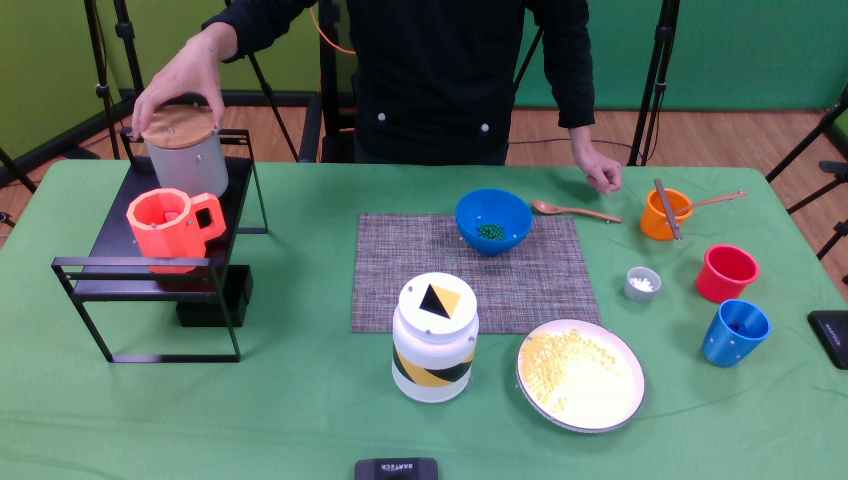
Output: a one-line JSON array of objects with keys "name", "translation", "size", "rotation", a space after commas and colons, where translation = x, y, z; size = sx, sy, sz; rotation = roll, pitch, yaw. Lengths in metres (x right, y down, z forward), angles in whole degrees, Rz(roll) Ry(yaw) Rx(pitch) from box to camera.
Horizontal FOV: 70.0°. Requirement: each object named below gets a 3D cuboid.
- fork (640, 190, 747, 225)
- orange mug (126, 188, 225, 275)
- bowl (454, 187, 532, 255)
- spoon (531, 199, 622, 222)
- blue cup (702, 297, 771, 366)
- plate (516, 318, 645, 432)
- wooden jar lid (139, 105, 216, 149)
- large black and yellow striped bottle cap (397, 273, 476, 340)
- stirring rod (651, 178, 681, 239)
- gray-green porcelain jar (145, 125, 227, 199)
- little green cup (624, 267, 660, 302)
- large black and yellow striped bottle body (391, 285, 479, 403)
[{"name": "fork", "translation": [0.533, -0.065, 1.211], "size": [0.207, 0.019, 0.028], "rotation": [-22, 28, 39]}, {"name": "orange mug", "translation": [-0.357, -0.020, 0.885], "size": [0.126, 0.101, 0.083], "rotation": [-29, 54, -23]}, {"name": "bowl", "translation": [0.131, -0.025, 1.187], "size": [0.151, 0.077, 0.150], "rotation": [2, 46, -2]}, {"name": "spoon", "translation": [0.321, -0.060, 1.279], "size": [0.194, 0.022, 0.041], "rotation": [8, 33, 4]}, {"name": "blue cup", "translation": [0.519, 0.162, 1.025], "size": [0.093, 0.101, 0.092], "rotation": [3, 45, -3]}, {"name": "plate", "translation": [0.253, 0.221, 0.992], "size": [0.209, 0.038, 0.208], "rotation": [2, 46, -2]}, {"name": "wooden jar lid", "translation": [-0.372, -0.169, 0.920], "size": [0.108, 0.021, 0.107], "rotation": [4, 44, -4]}, {"name": "large black and yellow striped bottle cap", "translation": [0.018, 0.094, 0.878], "size": [0.115, 0.019, 0.114], "rotation": [3, 46, -3]}, {"name": "stirring rod", "translation": [0.479, -0.065, 1.204], "size": [0.014, 0.006, 0.175], "rotation": [3, 46, -4]}, {"name": "gray-green porcelain jar", "translation": [-0.375, -0.125, 0.967], "size": [0.106, 0.127, 0.105], "rotation": [3, 46, -2]}, {"name": "little green cup", "translation": [0.406, 0.084, 1.135], "size": [0.061, 0.039, 0.061], "rotation": [3, 45, -3]}, {"name": "large black and yellow striped bottle body", "translation": [0.015, 0.153, 0.938], "size": [0.131, 0.185, 0.130], "rotation": [2, 46, -2]}]
